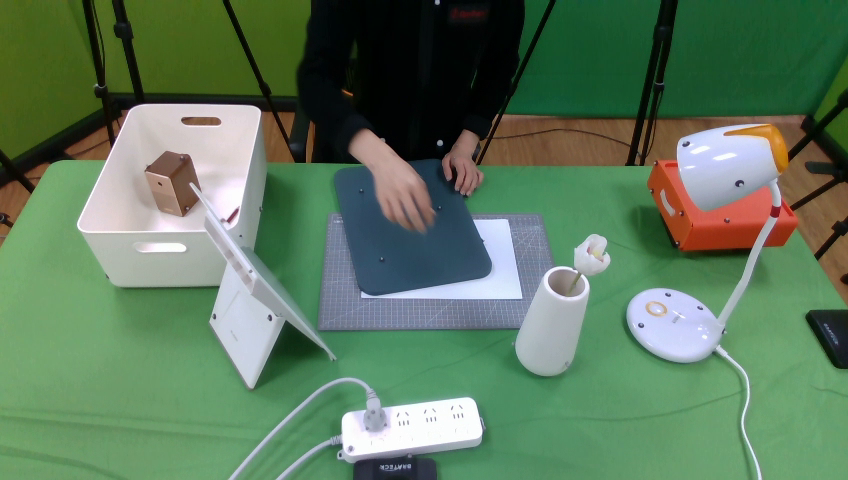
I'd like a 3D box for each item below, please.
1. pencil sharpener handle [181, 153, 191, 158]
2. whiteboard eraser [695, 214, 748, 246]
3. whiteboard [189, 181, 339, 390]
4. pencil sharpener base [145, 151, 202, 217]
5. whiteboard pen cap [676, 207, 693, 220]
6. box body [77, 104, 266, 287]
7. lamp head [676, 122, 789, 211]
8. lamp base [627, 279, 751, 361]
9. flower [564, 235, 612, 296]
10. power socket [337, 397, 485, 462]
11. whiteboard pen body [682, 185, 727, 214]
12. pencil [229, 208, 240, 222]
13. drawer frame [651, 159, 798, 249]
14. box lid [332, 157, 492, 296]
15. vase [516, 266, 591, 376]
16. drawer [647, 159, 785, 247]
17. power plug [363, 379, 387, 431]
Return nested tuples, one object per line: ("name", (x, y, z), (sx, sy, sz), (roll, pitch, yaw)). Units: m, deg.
("pencil sharpener handle", (-0.478, -0.156, 1.225), (0.036, 0.068, 0.030), (23, 48, 3))
("whiteboard eraser", (0.592, -0.019, 1.209), (0.113, 0.042, 0.055), (12, 27, -36))
("whiteboard", (-0.292, 0.096, 0.929), (0.144, 0.307, 0.216), (-37, 57, -10))
("pencil sharpener base", (-0.491, -0.112, 1.199), (0.061, 0.107, 0.076), (15, 47, 12))
("whiteboard pen cap", (0.524, -0.053, 1.216), (0.033, 0.018, 0.018), (-28, 54, -23))
("box body", (-0.447, -0.088, 1.150), (0.254, 0.161, 0.361), (-1, 46, -5))
("lamp head", (0.423, -0.104, 0.819), (0.122, 0.113, 0.112), (-13, 33, 40))
("lamp base", (0.459, 0.100, 1.027), (0.178, 0.181, 0.160), (27, 51, 17))
("flower", (0.206, 0.088, 0.892), (0.038, 0.363, 0.044), (-17, 66, -10))
("power socket", (-0.018, 0.285, 0.915), (0.227, 0.033, 0.071), (-5, 46, -8))
("whiteboard pen body", (0.572, -0.081, 1.237), (0.141, 0.017, 0.017), (-27, 54, -25))
("pencil", (-0.401, -0.008, 1.176), (0.012, 0.012, 0.193), (15, 44, 10))
("drawer frame", (0.588, -0.077, 1.219), (0.214, 0.083, 0.200), (-2, 45, -5))
("box lid", (-0.034, -0.041, 1.240), (0.264, 0.015, 0.369), (-9, 47, -12))
("vase", (0.208, 0.132, 0.964), (0.098, 0.201, 0.097), (3, 46, -3))
("drawer", (0.582, -0.079, 1.214), (0.212, 0.073, 0.193), (-1, 46, -5))
("power plug", (-0.072, 0.252, 0.910), (0.035, 0.053, 0.072), (3, 45, -1))
